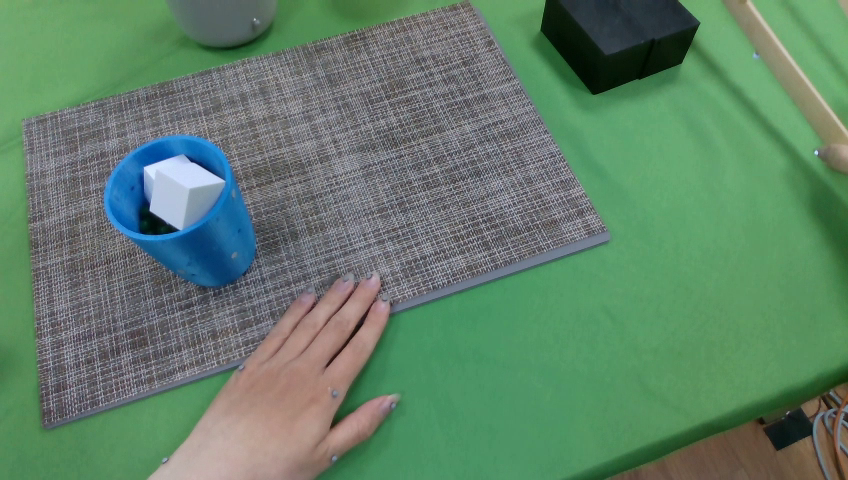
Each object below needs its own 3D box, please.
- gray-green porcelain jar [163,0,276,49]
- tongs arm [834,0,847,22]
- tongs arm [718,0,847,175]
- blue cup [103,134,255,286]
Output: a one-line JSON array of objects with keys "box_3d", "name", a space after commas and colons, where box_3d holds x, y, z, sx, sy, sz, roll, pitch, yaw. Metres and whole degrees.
[{"box_3d": [-0.203, -0.258, 0.575, 0.106, 0.127, 0.105, 0, 61, 1], "name": "gray-green porcelain jar"}, {"box_3d": [0.416, -0.135, 0.534, 0.028, 0.028, 0.384, -6, 67, -12], "name": "tongs arm"}, {"box_3d": [0.350, -0.118, 0.522, 0.051, 0.027, 0.381, -17, 69, -13], "name": "tongs arm"}, {"box_3d": [-0.169, -0.013, 0.448, 0.092, 0.101, 0.092, -1, 62, 2], "name": "blue cup"}]
